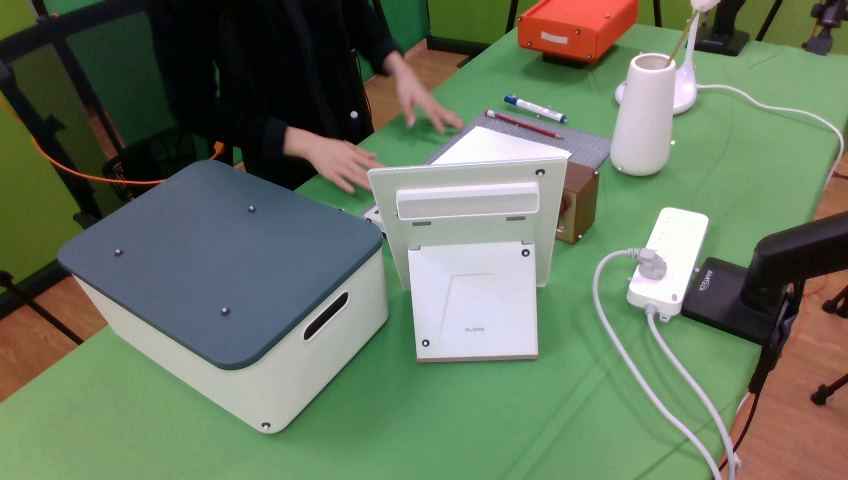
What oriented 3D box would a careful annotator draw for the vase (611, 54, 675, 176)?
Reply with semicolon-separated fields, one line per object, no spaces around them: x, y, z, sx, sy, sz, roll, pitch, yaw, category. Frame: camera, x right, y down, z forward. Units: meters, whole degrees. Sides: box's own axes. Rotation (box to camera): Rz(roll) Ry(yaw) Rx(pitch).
0.377;-0.209;1.031;0.098;0.201;0.097;-3;40;3;vase

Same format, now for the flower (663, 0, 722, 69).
0.379;-0.261;0.965;0.044;0.362;0.038;20;53;5;flower

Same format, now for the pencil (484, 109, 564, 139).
0.201;-0.235;1.229;0.192;0.012;0.012;28;51;32;pencil

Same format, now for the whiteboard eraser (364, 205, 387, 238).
-0.040;-0.025;0.991;0.112;0.042;0.056;21;49;29;whiteboard eraser

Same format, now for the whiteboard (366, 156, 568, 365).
0.059;0.050;0.738;0.217;0.307;0.143;-2;60;6;whiteboard

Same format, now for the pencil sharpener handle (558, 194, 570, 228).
0.195;-0.038;0.908;0.035;0.068;0.031;24;50;30;pencil sharpener handle

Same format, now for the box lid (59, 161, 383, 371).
-0.262;0.010;0.777;0.369;0.015;0.264;21;48;29;box lid

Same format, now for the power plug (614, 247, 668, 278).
0.306;0.031;0.851;0.072;0.053;0.035;24;49;33;power plug

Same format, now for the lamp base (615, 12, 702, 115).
0.484;-0.363;1.211;0.180;0.181;0.159;-15;41;-14;lamp base

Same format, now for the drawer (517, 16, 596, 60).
0.352;-0.506;1.405;0.193;0.073;0.212;23;49;32;drawer

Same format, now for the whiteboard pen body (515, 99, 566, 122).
0.234;-0.274;1.262;0.139;0.017;0.017;28;51;29;whiteboard pen body

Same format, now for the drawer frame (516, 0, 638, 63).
0.355;-0.508;1.410;0.200;0.083;0.214;23;51;32;drawer frame

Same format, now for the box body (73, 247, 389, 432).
-0.255;0.065;0.827;0.361;0.161;0.255;21;48;29;box body

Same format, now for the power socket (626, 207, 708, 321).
0.359;0.025;0.886;0.072;0.033;0.227;16;46;26;power socket

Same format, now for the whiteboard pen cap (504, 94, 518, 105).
0.189;-0.299;1.292;0.033;0.018;0.018;30;52;28;whiteboard pen cap

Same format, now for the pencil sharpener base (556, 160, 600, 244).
0.228;-0.057;0.945;0.061;0.107;0.077;24;50;31;pencil sharpener base
